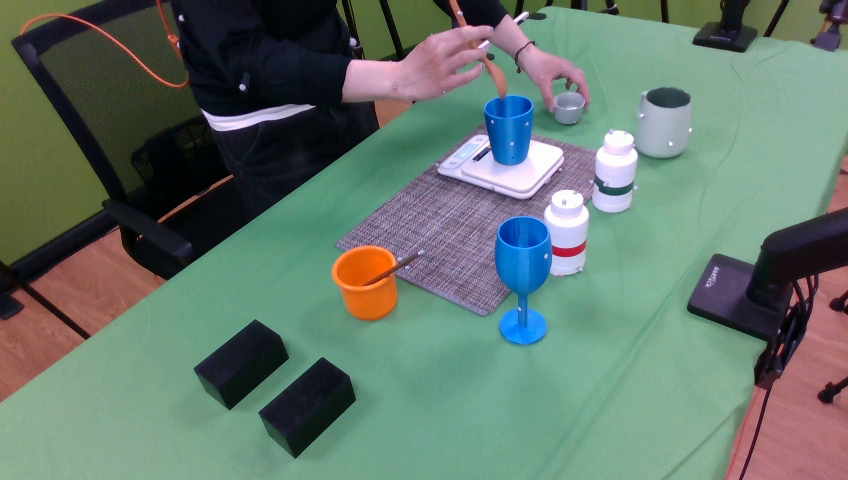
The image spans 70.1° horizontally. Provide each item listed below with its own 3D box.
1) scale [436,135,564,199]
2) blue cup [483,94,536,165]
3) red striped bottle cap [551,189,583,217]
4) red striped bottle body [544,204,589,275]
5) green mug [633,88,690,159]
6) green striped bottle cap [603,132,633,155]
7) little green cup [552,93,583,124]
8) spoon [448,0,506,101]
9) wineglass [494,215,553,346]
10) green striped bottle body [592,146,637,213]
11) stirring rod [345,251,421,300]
[{"bbox_3d":[0.137,-0.142,1.101,0.199,0.032,0.149,22,48,30],"label":"scale"},{"bbox_3d":[0.149,-0.189,1.053,0.092,0.100,0.092,-5,40,5],"label":"blue cup"},{"bbox_3d":[0.199,-0.052,0.843,0.044,0.018,0.044,-2,42,2],"label":"red striped bottle cap"},{"bbox_3d":[0.206,-0.011,0.877,0.063,0.120,0.062,-5,41,5],"label":"red striped bottle body"},{"bbox_3d":[0.423,-0.217,1.099,0.093,0.105,0.124,-16,41,-10],"label":"green mug"},{"bbox_3d":[0.302,-0.149,0.939,0.044,0.020,0.044,-3,40,3],"label":"green striped bottle cap"},{"bbox_3d":[0.286,-0.261,1.209,0.061,0.039,0.061,-2,45,3],"label":"little green cup"},{"bbox_3d":[0.084,-0.298,0.949,0.021,0.195,0.041,-13,45,35],"label":"spoon"},{"bbox_3d":[0.126,0.055,0.770,0.074,0.173,0.073,-4,40,4],"label":"wineglass"},{"bbox_3d":[0.307,-0.108,0.976,0.063,0.120,0.063,-4,41,4],"label":"green striped bottle body"},{"bbox_3d":[-0.060,0.051,0.829,0.175,0.006,0.014,-32,18,44],"label":"stirring rod"}]
